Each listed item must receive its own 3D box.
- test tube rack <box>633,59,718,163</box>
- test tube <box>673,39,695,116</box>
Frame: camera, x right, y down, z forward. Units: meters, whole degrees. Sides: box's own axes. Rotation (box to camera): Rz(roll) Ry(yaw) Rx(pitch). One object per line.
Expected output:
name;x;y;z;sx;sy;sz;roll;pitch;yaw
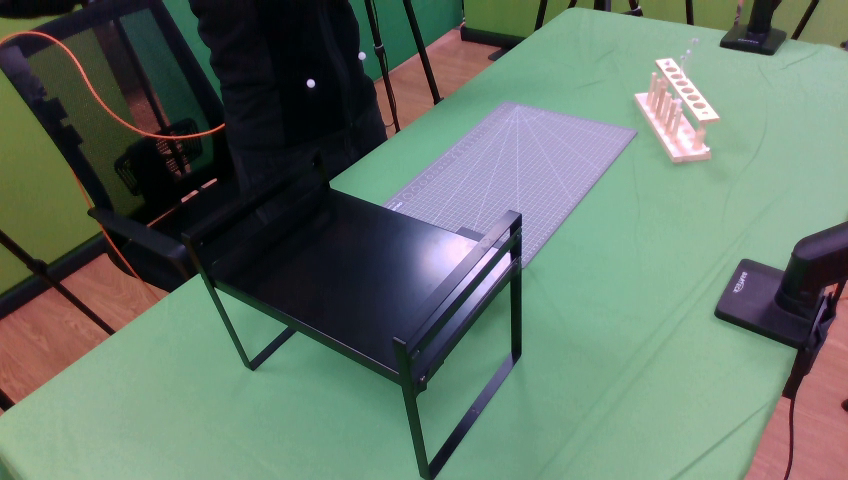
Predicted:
test tube rack;0.470;-0.250;1.148;0.067;0.085;0.241;-6;40;3
test tube;0.482;-0.300;1.128;0.017;0.151;0.017;-2;39;2
